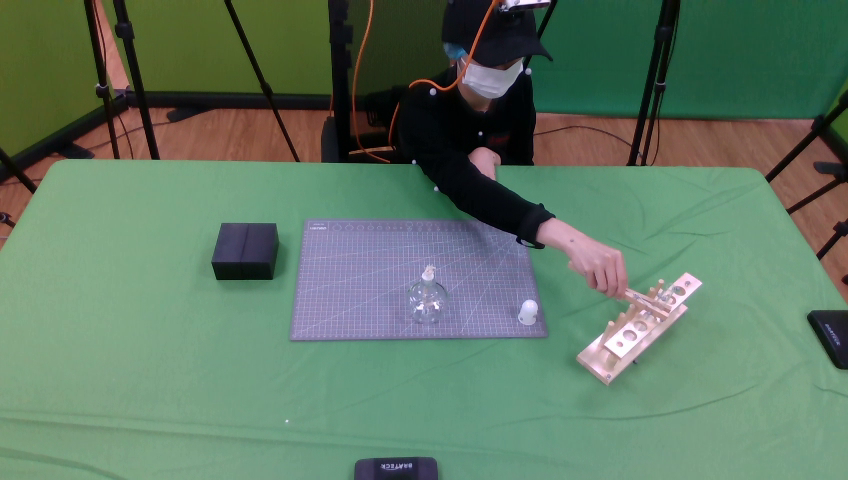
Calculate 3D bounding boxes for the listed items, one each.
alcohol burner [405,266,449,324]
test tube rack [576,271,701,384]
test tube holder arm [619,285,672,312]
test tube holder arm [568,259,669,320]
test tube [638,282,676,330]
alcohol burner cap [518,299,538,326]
[{"bbox_3d":[0.005,0.089,1.043,0.078,0.120,0.077,1,45,-1],"label":"alcohol burner"},{"bbox_3d":[0.373,0.138,1.047,0.242,0.085,0.066,-31,56,-29],"label":"test tube rack"},{"bbox_3d":[0.361,0.096,0.995,0.087,0.015,0.010,22,51,15],"label":"test tube holder arm"},{"bbox_3d":[0.320,0.080,1.006,0.178,0.015,0.013,30,52,21],"label":"test tube holder arm"},{"bbox_3d":[0.378,0.119,0.997,0.017,0.151,0.017,3,49,-3],"label":"test tube"},{"bbox_3d":[0.186,0.126,1.072,0.034,0.048,0.033,2,45,-1],"label":"alcohol burner cap"}]
